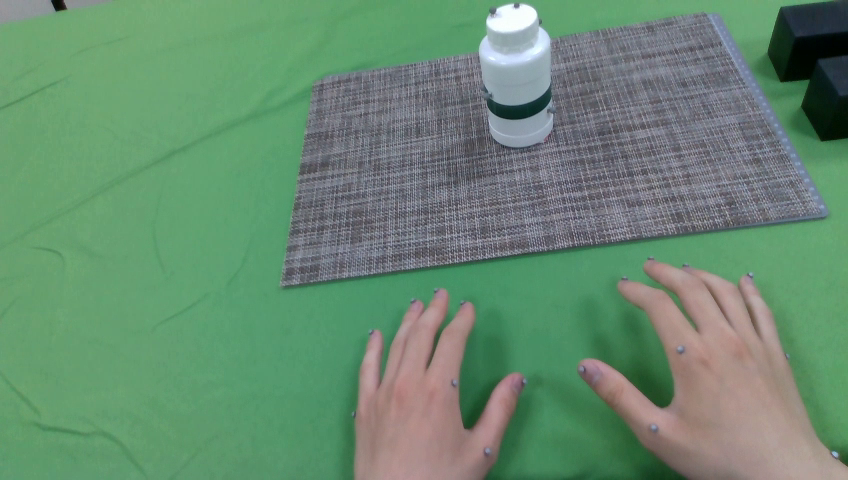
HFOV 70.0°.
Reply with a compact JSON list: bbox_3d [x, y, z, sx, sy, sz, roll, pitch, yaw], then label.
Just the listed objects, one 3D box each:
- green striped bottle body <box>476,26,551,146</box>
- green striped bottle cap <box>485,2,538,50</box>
[{"bbox_3d":[0.083,-0.150,0.557,0.063,0.120,0.062,-7,50,9],"label":"green striped bottle body"},{"bbox_3d":[0.074,-0.182,0.516,0.044,0.020,0.044,-8,52,11],"label":"green striped bottle cap"}]
